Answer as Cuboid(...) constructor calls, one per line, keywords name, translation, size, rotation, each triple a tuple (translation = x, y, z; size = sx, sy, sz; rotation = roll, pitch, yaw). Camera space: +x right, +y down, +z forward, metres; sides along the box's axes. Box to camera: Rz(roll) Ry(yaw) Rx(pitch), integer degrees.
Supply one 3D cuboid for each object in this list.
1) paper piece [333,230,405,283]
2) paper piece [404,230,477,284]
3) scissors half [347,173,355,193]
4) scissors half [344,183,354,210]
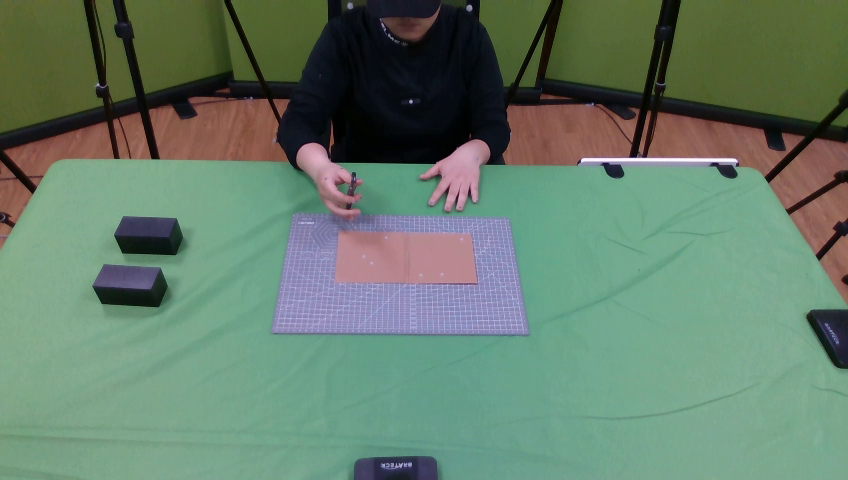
Cuboid(name="paper piece", translation=(-0.104, 0.031, 1.165), size=(0.135, 0.004, 0.135), rotation=(2, 47, -4))
Cuboid(name="paper piece", translation=(0.030, 0.033, 1.174), size=(0.138, 0.009, 0.135), rotation=(2, 49, -3))
Cuboid(name="scissors half", translation=(-0.135, -0.106, 1.139), size=(0.013, 0.040, 0.175), rotation=(9, 5, -9))
Cuboid(name="scissors half", translation=(-0.139, -0.087, 1.137), size=(0.013, 0.175, 0.040), rotation=(14, 79, -8))
